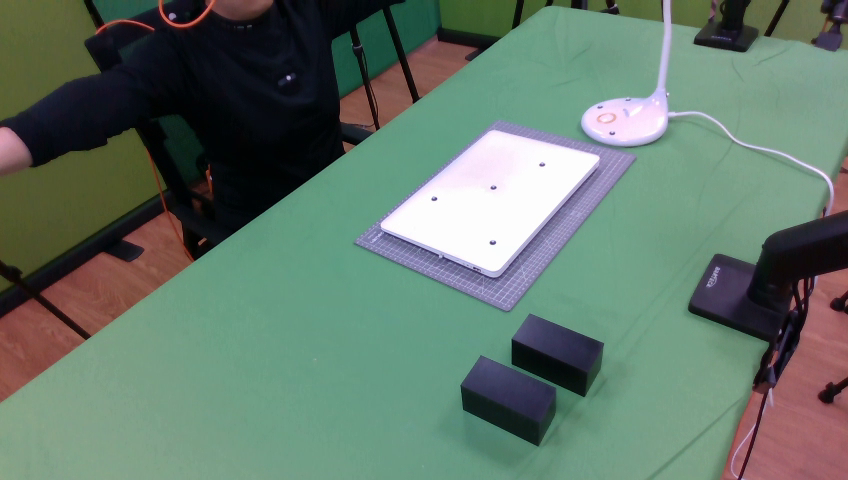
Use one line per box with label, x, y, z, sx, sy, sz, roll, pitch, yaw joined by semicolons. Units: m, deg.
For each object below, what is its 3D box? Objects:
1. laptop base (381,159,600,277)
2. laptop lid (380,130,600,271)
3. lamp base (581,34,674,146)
laptop base;0.122;-0.077;1.043;0.233;0.023;0.355;20;47;33
laptop lid;0.119;-0.087;1.036;0.239;0.013;0.358;23;48;33
lamp base;0.392;-0.291;1.129;0.180;0.181;0.159;-11;41;-8
